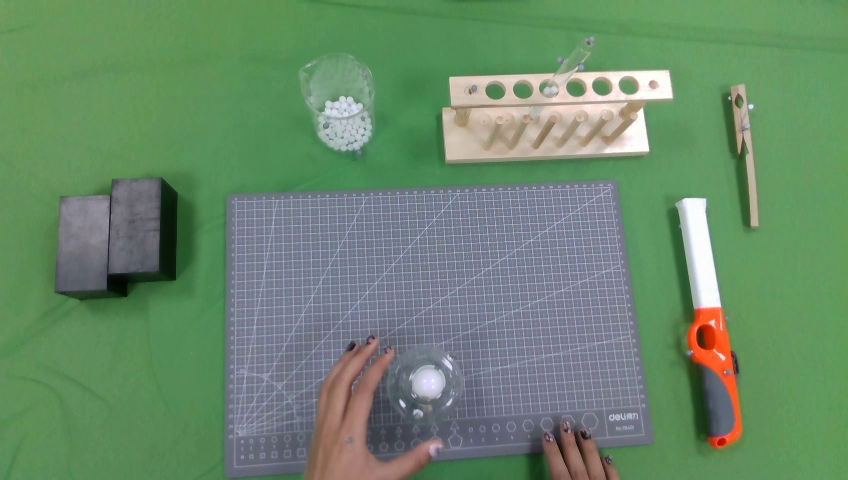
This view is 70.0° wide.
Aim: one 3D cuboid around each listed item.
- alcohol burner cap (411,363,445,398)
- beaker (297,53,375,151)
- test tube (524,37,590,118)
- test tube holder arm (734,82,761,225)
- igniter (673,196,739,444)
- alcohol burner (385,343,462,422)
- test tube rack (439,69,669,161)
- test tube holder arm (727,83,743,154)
[{"bbox_3d":[0.004,0.131,0.561,0.034,0.048,0.033,0,81,0],"label":"alcohol burner cap"},{"bbox_3d":[-0.094,-0.147,0.663,0.084,0.100,0.074,25,76,3],"label":"beaker"},{"bbox_3d":[0.136,-0.167,0.641,0.017,0.150,0.017,3,76,-10],"label":"test tube"},{"bbox_3d":[0.389,-0.106,0.731,0.013,0.015,0.177,-10,76,29],"label":"test tube holder arm"},{"bbox_3d":[0.315,0.084,0.680,0.057,0.025,0.275,0,77,-15],"label":"igniter"},{"bbox_3d":[0.001,0.139,0.596,0.078,0.119,0.077,1,75,-4],"label":"alcohol burner"},{"bbox_3d":[0.143,-0.140,0.687,0.243,0.085,0.066,-3,77,-5],"label":"test tube rack"},{"bbox_3d":[0.382,-0.149,0.743,0.010,0.015,0.087,-9,77,30],"label":"test tube holder arm"}]
